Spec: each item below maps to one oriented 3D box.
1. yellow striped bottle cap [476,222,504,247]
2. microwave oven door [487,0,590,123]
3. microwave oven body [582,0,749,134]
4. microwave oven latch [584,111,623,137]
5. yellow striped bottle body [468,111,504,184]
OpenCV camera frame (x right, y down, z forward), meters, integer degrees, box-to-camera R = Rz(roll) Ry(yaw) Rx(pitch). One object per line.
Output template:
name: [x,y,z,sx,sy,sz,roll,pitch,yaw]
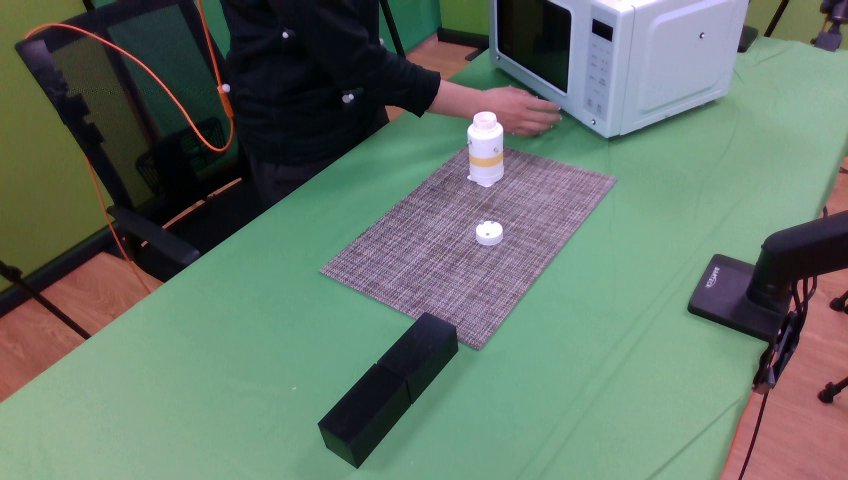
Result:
yellow striped bottle cap: [0.105,-0.010,0.966,0.044,0.019,0.044,-3,39,3]
microwave oven door: [0.231,-0.420,1.230,0.039,0.245,0.352,-22,43,-16]
microwave oven body: [0.382,-0.444,1.246,0.327,0.261,0.437,-22,42,-16]
microwave oven latch: [0.337,-0.222,1.142,0.030,0.029,0.078,-21,42,-14]
yellow striped bottle body: [0.109,-0.164,1.064,0.063,0.121,0.062,-4,41,4]
